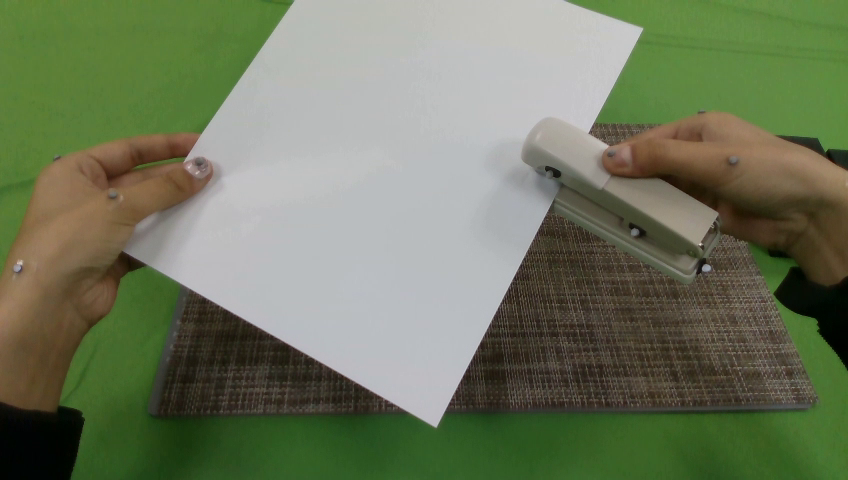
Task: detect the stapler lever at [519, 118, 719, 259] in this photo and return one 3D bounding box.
[{"bbox_3d":[0.108,-0.032,0.345,0.117,0.040,0.027,31,78,23],"label":"stapler lever"}]

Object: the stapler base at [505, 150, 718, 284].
[{"bbox_3d":[0.110,-0.025,0.364,0.130,0.024,0.041,33,79,18],"label":"stapler base"}]
